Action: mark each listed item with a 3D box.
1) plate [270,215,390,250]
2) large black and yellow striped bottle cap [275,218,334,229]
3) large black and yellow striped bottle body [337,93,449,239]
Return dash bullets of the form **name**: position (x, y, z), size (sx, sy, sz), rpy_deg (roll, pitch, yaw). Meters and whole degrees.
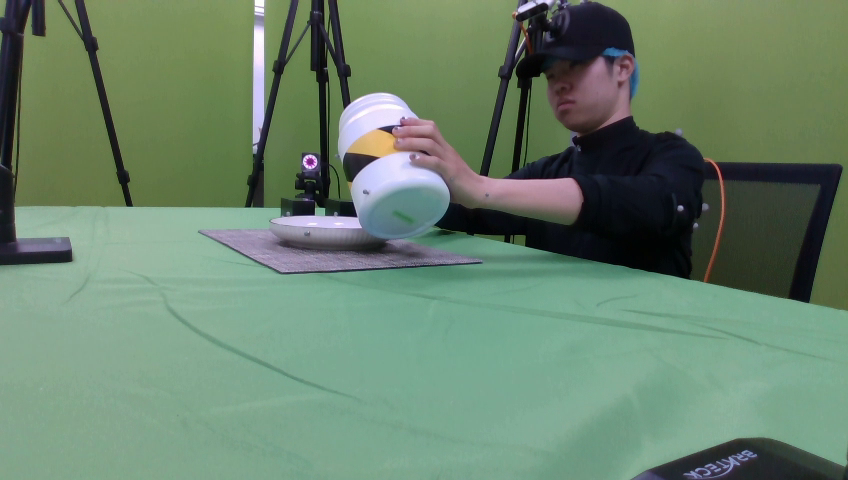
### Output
- **plate**: position (-0.145, -0.013, 0.992), size (0.208, 0.039, 0.207), rpy_deg (2, 7, 0)
- **large black and yellow striped bottle cap**: position (-0.236, -0.033, 1.197), size (0.115, 0.019, 0.115), rpy_deg (2, 3, 0)
- **large black and yellow striped bottle body**: position (-0.051, -0.108, 0.865), size (0.131, 0.183, 0.131), rpy_deg (-14, -31, -8)
